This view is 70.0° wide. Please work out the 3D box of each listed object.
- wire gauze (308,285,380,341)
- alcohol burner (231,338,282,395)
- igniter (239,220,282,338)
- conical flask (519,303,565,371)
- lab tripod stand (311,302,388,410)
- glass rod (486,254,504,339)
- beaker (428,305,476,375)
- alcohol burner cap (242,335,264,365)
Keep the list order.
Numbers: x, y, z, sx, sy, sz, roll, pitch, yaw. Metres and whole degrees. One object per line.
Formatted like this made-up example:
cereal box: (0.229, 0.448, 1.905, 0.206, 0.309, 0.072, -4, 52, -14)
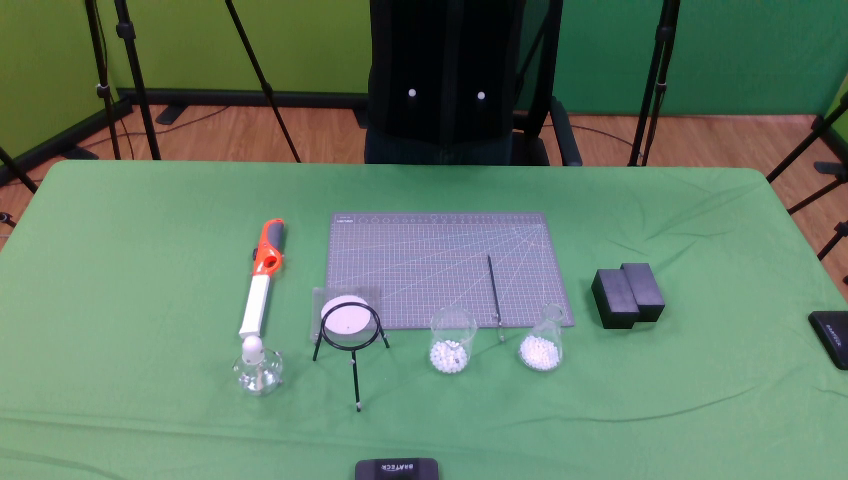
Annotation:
wire gauze: (-0.141, 0.128, 1.071, 0.125, 0.011, 0.120, -1, 46, -5)
alcohol burner: (-0.260, 0.187, 0.935, 0.078, 0.119, 0.077, 3, 44, -3)
igniter: (-0.298, 0.061, 1.113, 0.057, 0.025, 0.274, -5, 46, 4)
conical flask: (0.201, 0.155, 0.997, 0.075, 0.122, 0.075, 2, 46, -2)
lab tripod stand: (-0.113, 0.168, 0.951, 0.148, 0.132, 0.147, 2, 44, -2)
glass rod: (0.130, 0.099, 1.119, 0.008, 0.008, 0.198, -1, 46, -4)
beaker: (0.044, 0.169, 0.987, 0.074, 0.101, 0.083, 1, 47, -3)
alcohol burner cap: (-0.258, 0.163, 0.908, 0.034, 0.048, 0.033, 6, 48, -6)
